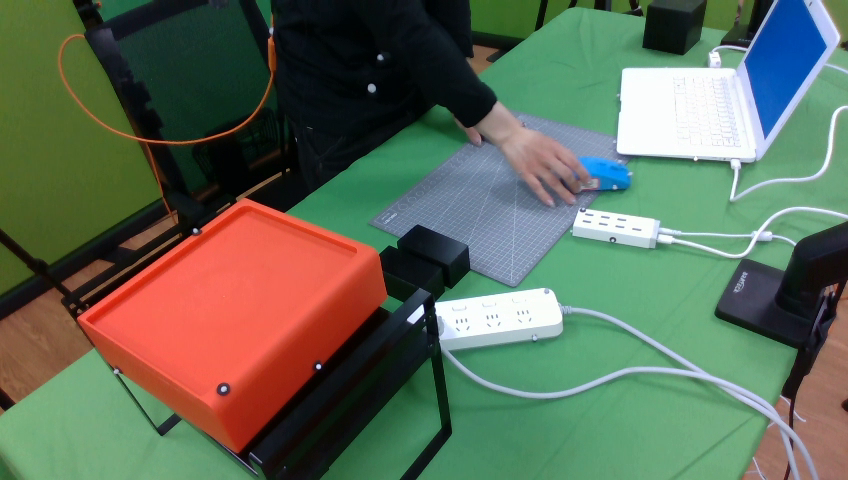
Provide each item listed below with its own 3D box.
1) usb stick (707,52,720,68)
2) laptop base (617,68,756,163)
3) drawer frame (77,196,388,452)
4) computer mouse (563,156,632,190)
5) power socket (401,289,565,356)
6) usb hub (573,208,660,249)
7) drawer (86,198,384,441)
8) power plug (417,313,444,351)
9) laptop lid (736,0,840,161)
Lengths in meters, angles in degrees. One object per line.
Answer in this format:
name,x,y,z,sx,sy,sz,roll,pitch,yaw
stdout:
usb stick,0.629,-0.382,1.313,0.021,0.027,0.059,2,46,17
laptop base,0.509,-0.255,1.201,0.234,0.023,0.353,4,41,16
drawer frame,-0.179,0.066,0.598,0.200,0.083,0.214,20,48,28
computer mouse,0.301,-0.116,1.048,0.117,0.041,0.062,2,39,2
power socket,0.081,0.112,0.822,0.227,0.033,0.072,-7,41,0
usb hub,0.302,-0.019,0.950,0.124,0.025,0.049,11,43,20
drawer,-0.179,0.064,0.600,0.193,0.073,0.212,21,48,28
power plug,0.007,0.127,0.786,0.035,0.053,0.072,0,43,8
laptop lid,0.641,-0.327,1.090,0.013,0.242,0.356,17,43,5
